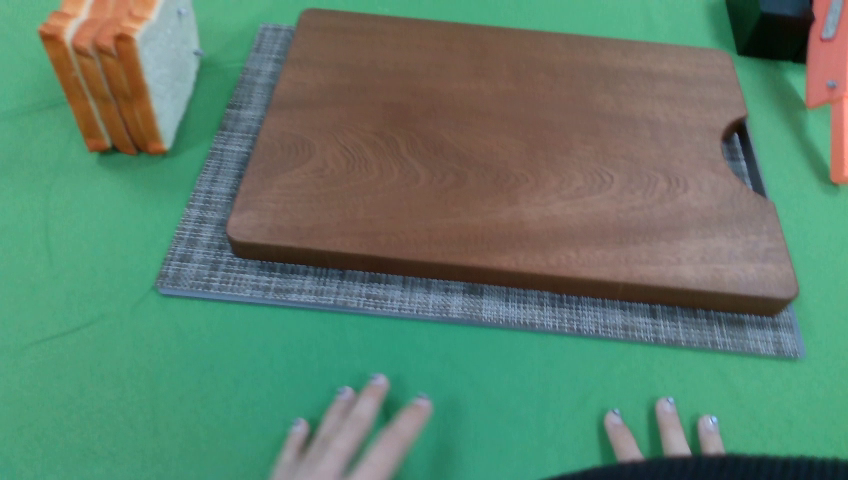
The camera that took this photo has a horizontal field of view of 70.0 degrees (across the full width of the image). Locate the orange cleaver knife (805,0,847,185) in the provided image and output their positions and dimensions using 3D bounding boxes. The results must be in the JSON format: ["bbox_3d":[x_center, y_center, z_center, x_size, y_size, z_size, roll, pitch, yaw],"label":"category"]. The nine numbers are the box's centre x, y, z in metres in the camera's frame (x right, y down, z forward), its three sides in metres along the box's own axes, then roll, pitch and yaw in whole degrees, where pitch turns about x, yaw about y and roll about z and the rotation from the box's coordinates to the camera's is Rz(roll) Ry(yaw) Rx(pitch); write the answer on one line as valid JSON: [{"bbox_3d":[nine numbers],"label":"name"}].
[{"bbox_3d":[0.361,-0.148,0.534,0.012,0.077,0.210,7,83,1],"label":"orange cleaver knife"}]

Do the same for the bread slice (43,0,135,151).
[{"bbox_3d":[-0.258,-0.151,0.488,0.018,0.108,0.133,3,47,-7],"label":"bread slice"}]

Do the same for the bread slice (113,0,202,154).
[{"bbox_3d":[-0.208,-0.150,0.489,0.019,0.106,0.130,5,48,-3],"label":"bread slice"}]
